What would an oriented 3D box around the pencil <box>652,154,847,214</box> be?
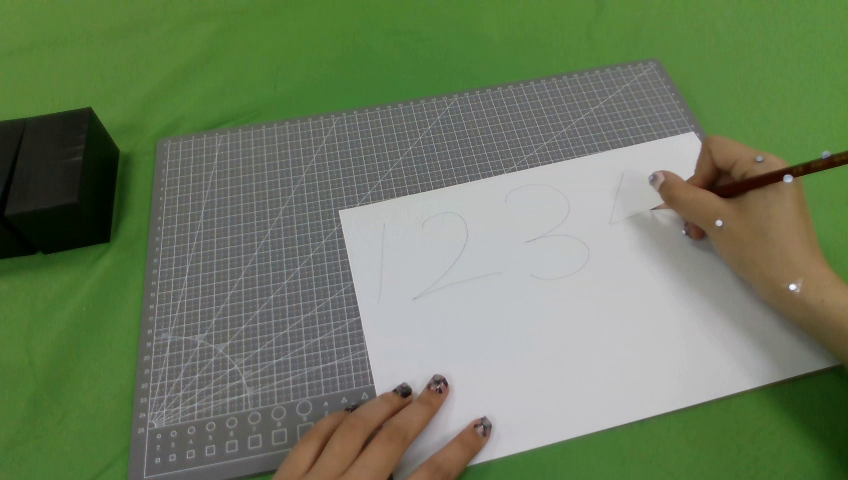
[{"bbox_3d":[0.214,-0.036,0.370,0.012,0.193,0.012,5,78,-25],"label":"pencil"}]
